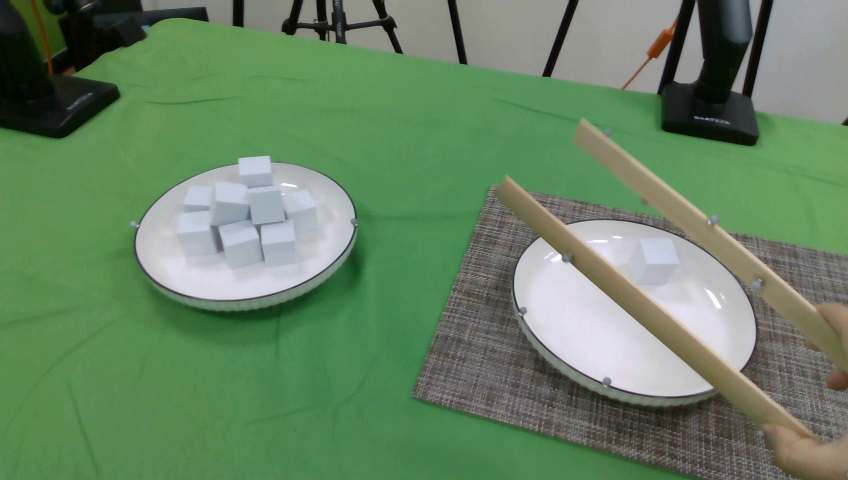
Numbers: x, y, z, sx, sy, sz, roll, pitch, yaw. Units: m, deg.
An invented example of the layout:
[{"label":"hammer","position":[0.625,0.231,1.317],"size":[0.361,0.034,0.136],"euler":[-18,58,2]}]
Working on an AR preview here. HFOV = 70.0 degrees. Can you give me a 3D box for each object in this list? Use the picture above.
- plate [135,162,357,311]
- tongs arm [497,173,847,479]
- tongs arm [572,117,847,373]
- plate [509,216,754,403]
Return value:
[{"label":"plate","position":[-0.170,-0.004,0.601],"size":[0.209,0.038,0.207],"euler":[2,42,-1]},{"label":"tongs arm","position":[0.195,0.081,0.371],"size":[0.385,0.028,0.028],"euler":[41,58,15]},{"label":"tongs arm","position":[0.230,0.055,0.391],"size":[0.051,0.027,0.382],"euler":[-38,72,-27]},{"label":"plate","position":[0.178,0.059,0.542],"size":[0.208,0.039,0.205],"euler":[1,43,-1]}]
